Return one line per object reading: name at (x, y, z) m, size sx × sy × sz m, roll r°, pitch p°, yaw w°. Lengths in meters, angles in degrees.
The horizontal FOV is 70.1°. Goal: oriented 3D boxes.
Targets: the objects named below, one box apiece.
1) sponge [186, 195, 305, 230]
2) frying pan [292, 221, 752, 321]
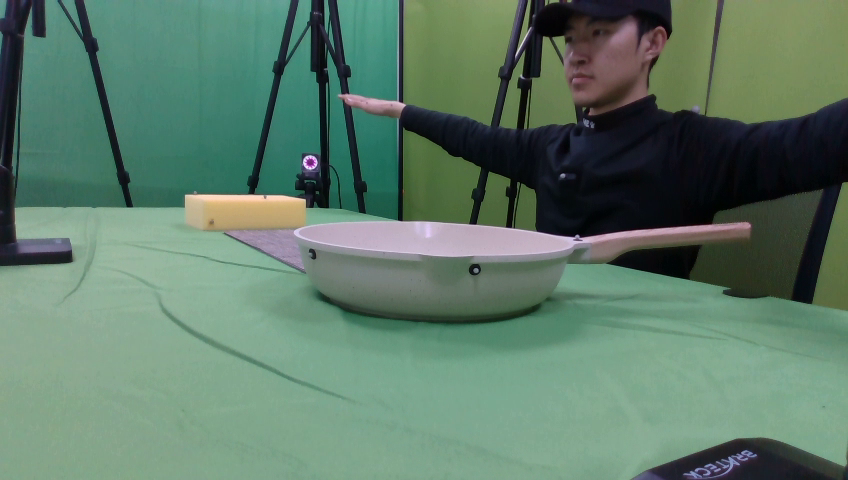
sponge at (-0.358, -0.057, 1.219) m, size 0.208 × 0.061 × 0.117 m, roll -3°, pitch 8°, yaw -37°
frying pan at (0.112, 0.012, 0.644) m, size 0.488 × 0.102 × 0.306 m, roll -6°, pitch 8°, yaw -2°
